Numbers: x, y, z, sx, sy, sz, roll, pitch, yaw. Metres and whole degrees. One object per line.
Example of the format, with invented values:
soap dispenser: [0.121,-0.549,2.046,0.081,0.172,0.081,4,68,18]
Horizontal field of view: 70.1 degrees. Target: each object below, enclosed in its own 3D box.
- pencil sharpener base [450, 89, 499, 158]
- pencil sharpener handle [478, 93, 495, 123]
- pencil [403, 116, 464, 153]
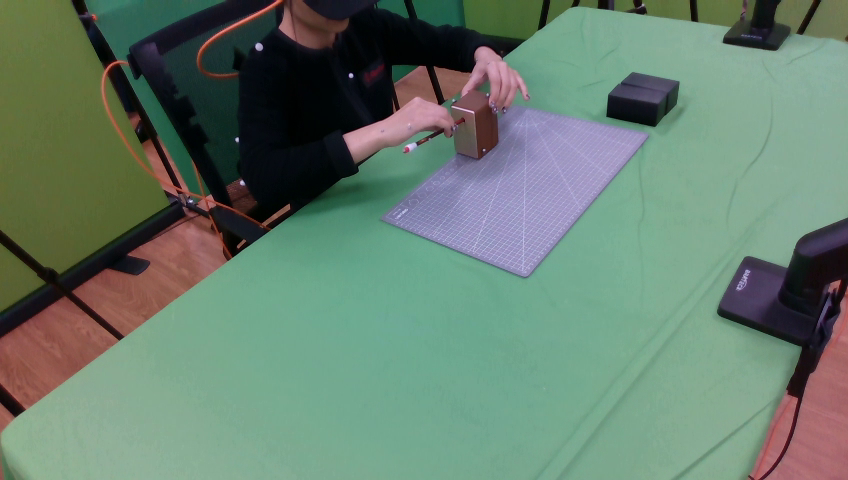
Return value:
pencil sharpener base: [0.099,-0.223,1.155,0.061,0.107,0.077,23,49,33]
pencil sharpener handle: [0.127,-0.262,1.177,0.036,0.068,0.031,30,53,25]
pencil: [0.028,-0.195,1.075,0.012,0.012,0.195,23,42,32]
